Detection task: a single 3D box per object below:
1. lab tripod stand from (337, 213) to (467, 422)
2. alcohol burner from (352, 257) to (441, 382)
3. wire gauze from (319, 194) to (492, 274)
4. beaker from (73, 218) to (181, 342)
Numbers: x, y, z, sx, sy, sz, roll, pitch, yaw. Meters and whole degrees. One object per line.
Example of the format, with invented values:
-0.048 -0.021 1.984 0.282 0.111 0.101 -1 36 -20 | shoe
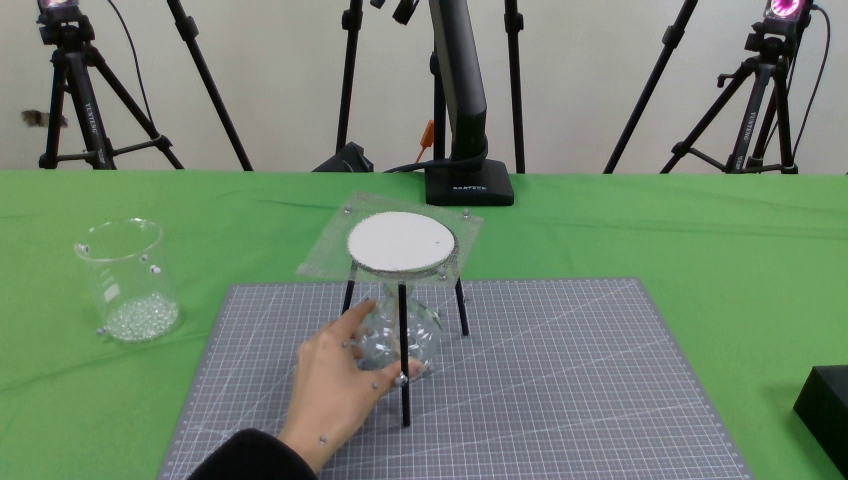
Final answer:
-0.017 0.057 0.520 0.148 0.132 0.147 2 34 -1 | lab tripod stand
-0.023 0.065 0.525 0.078 0.120 0.077 3 32 -1 | alcohol burner
-0.015 -0.010 0.469 0.125 0.011 0.120 5 27 -9 | wire gauze
-0.275 0.038 0.575 0.074 0.101 0.083 6 33 7 | beaker
